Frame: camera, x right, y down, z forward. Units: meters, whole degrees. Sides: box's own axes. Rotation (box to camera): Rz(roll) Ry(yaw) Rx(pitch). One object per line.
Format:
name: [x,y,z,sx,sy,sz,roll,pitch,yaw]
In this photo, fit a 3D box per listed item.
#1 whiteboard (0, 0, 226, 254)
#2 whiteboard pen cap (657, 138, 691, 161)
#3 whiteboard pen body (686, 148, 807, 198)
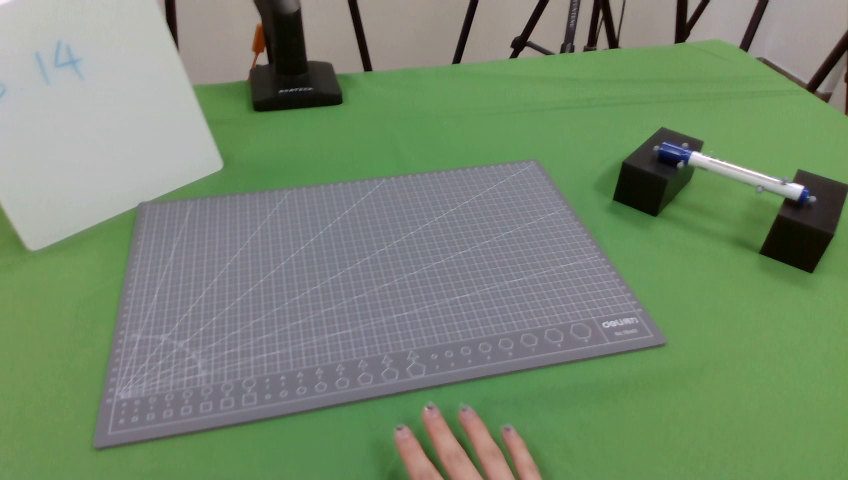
whiteboard: [-0.383,-0.180,0.621,0.217,0.308,0.142,-34,32,-34]
whiteboard pen cap: [0.265,-0.094,0.640,0.033,0.018,0.018,26,46,23]
whiteboard pen body: [0.312,-0.073,0.615,0.139,0.017,0.017,25,45,25]
